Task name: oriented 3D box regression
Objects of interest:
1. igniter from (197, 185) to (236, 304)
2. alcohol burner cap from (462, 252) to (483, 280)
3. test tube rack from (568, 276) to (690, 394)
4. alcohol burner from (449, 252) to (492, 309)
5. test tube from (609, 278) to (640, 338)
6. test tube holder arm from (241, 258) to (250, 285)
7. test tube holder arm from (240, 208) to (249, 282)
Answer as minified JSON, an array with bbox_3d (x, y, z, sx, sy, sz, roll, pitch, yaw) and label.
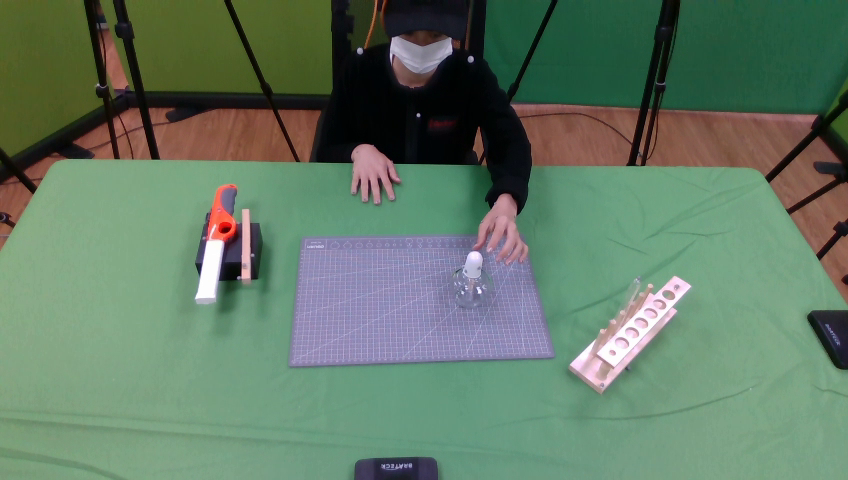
[{"bbox_3d":[-0.376,-0.002,1.101,0.057,0.025,0.274,-1,49,-7],"label":"igniter"},{"bbox_3d":[0.085,0.042,1.048,0.034,0.048,0.033,4,41,-3],"label":"alcohol burner cap"},{"bbox_3d":[0.353,0.149,1.039,0.242,0.085,0.066,-34,56,-31],"label":"test tube rack"},{"bbox_3d":[0.084,0.066,1.074,0.078,0.120,0.077,1,45,-1],"label":"alcohol burner"},{"bbox_3d":[0.331,0.115,1.007,0.017,0.151,0.017,2,45,-2],"label":"test tube"},{"bbox_3d":[-0.316,0.043,1.071,0.015,0.010,0.087,-1,48,-15],"label":"test tube holder arm"},{"bbox_3d":[-0.324,0.006,1.096,0.015,0.013,0.177,-1,48,-15],"label":"test tube holder arm"}]
